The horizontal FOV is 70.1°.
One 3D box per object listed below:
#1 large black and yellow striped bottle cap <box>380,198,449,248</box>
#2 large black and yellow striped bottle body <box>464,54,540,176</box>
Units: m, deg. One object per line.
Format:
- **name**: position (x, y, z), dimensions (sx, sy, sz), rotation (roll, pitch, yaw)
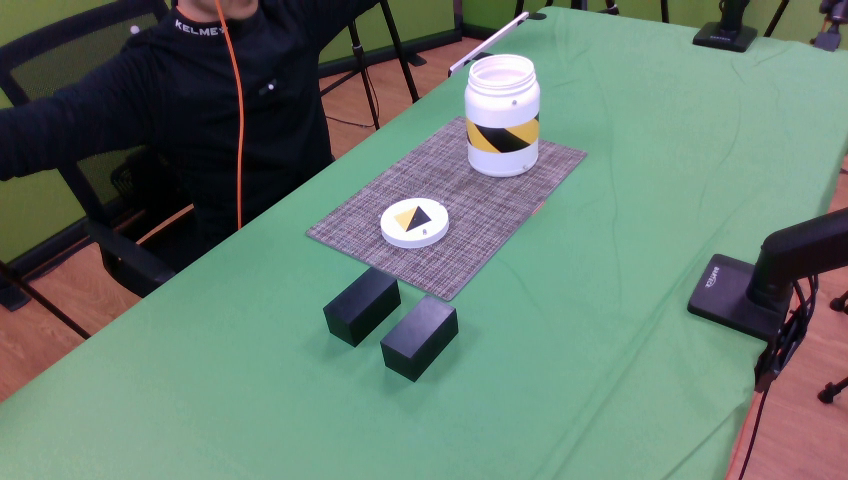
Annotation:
- **large black and yellow striped bottle cap**: position (-0.016, -0.030, 1.004), dimensions (0.115, 0.019, 0.114), rotation (-5, 40, 4)
- **large black and yellow striped bottle body**: position (0.139, -0.221, 1.075), dimensions (0.131, 0.185, 0.130), rotation (-4, 41, 4)
